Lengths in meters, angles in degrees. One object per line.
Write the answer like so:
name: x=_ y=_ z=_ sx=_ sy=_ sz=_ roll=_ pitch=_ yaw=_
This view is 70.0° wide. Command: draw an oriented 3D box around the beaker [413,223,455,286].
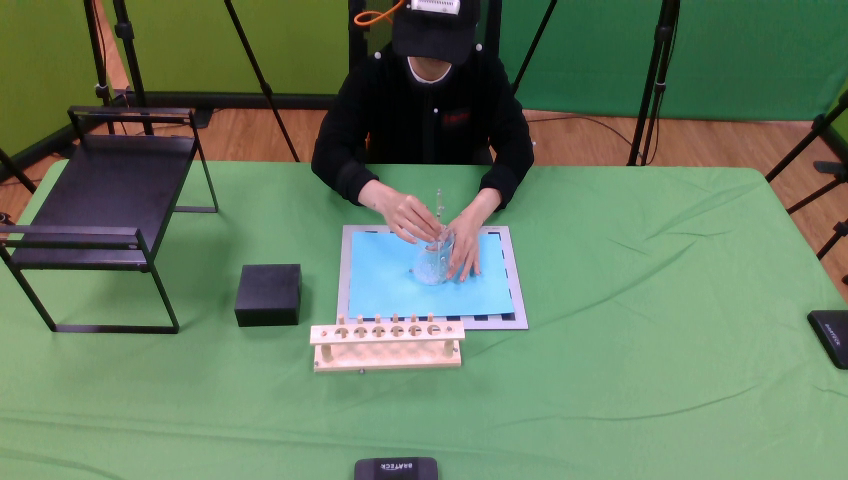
beaker: x=0.018 y=0.027 z=1.110 sx=0.073 sy=0.101 sz=0.084 roll=37 pitch=54 yaw=27

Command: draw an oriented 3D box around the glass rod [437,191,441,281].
glass rod: x=0.028 y=-0.003 z=1.066 sx=0.008 sy=0.201 sz=0.008 roll=-1 pitch=39 yaw=1

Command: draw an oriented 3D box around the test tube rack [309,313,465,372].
test tube rack: x=-0.059 y=0.161 z=0.990 sx=0.242 sy=0.085 sz=0.066 roll=-1 pitch=46 yaw=-5
